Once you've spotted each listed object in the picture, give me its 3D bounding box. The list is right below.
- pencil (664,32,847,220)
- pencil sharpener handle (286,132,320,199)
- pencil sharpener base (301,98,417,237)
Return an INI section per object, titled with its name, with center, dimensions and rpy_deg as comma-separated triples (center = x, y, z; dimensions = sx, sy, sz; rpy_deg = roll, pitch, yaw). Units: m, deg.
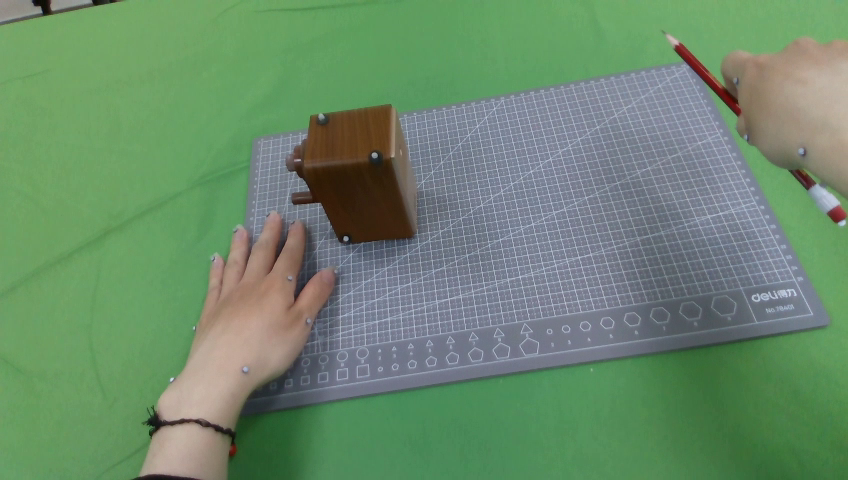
[pencil]
center = 0.238, -0.091, 0.445
dimensions = 0.012, 0.012, 0.192
rpy_deg = -28, 66, -9
[pencil sharpener handle]
center = -0.104, -0.057, 0.500
dimensions = 0.030, 0.068, 0.035
rpy_deg = -6, 54, 7
[pencil sharpener base]
center = -0.051, -0.056, 0.505
dimensions = 0.076, 0.108, 0.061
rpy_deg = -6, 55, 7
